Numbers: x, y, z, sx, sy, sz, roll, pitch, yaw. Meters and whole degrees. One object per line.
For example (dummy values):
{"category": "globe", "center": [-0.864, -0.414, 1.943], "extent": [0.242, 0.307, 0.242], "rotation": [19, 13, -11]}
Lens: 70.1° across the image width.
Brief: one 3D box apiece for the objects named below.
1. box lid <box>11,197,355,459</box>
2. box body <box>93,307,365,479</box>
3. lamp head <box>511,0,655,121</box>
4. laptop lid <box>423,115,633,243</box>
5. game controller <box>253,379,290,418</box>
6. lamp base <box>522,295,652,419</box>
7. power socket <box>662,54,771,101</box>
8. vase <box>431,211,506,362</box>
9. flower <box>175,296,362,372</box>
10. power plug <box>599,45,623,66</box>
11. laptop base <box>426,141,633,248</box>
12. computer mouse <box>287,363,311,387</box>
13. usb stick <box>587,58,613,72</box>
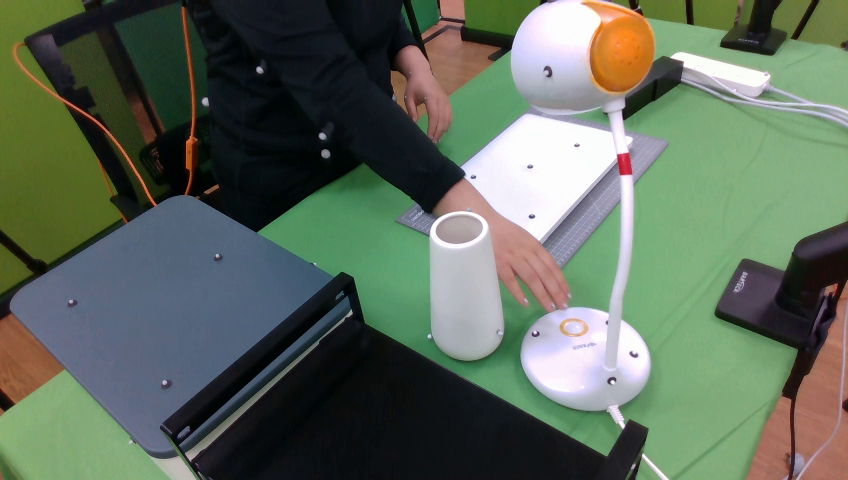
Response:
{"category": "box lid", "center": [-0.288, 0.072, 0.710], "extent": [0.368, 0.015, 0.264], "rotation": [25, 50, 32]}
{"category": "box body", "center": [-0.281, 0.128, 0.759], "extent": [0.361, 0.161, 0.255], "rotation": [24, 49, 32]}
{"category": "lamp head", "center": [0.155, -0.168, 0.564], "extent": [0.113, 0.113, 0.122], "rotation": [-18, 23, -12]}
{"category": "laptop lid", "center": [0.191, -0.126, 1.081], "extent": [0.239, 0.013, 0.358], "rotation": [23, 48, 34]}
{"category": "game controller", "center": [-0.234, 0.211, 0.735], "extent": [0.096, 0.052, 0.155], "rotation": [28, 53, 29]}
{"category": "lamp base", "center": [0.201, 0.095, 0.710], "extent": [0.161, 0.181, 0.178], "rotation": [-16, 43, -10]}
{"category": "power socket", "center": [0.615, -0.348, 1.285], "extent": [0.072, 0.033, 0.225], "rotation": [-36, 48, -28]}
{"category": "vase", "center": [0.054, 0.062, 0.757], "extent": [0.098, 0.201, 0.097], "rotation": [-3, 40, 3]}
{"category": "flower", "center": [-0.233, 0.115, 0.833], "extent": [0.359, 0.038, 0.044], "rotation": [10, 87, 33]}
{"category": "power plug", "center": [0.438, -0.422, 1.411], "extent": [0.053, 0.035, 0.072], "rotation": [-19, 69, -47]}
{"category": "laptop base", "center": [0.194, -0.118, 1.087], "extent": [0.233, 0.023, 0.355], "rotation": [20, 47, 34]}
{"category": "computer mouse", "center": [-0.161, 0.158, 0.791], "extent": [0.116, 0.041, 0.063], "rotation": [26, 46, 23]}
{"category": "usb stick", "center": [0.401, -0.399, 1.381], "extent": [0.059, 0.027, 0.021], "rotation": [1, 48, 21]}
